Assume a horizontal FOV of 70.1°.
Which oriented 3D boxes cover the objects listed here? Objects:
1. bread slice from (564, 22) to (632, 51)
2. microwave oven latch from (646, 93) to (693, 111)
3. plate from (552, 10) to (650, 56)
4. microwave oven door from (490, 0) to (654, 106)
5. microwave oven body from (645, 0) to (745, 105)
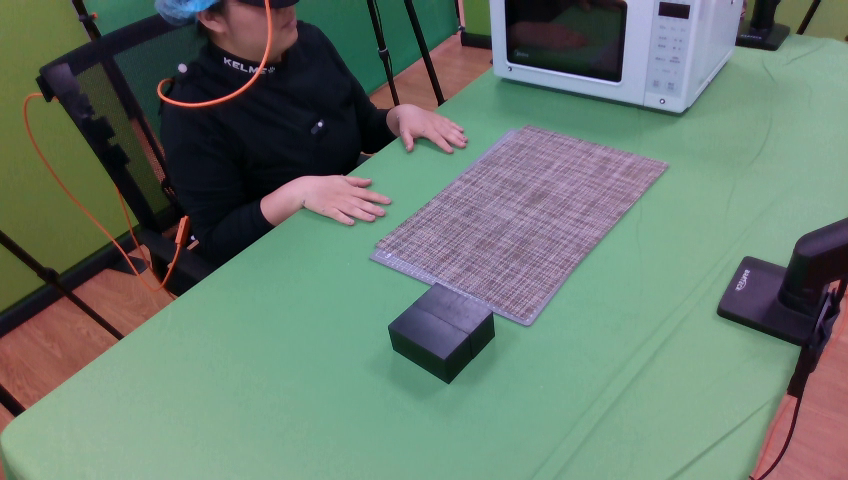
[{"bbox_3d":[0.394,-0.453,1.344,0.105,0.019,0.130,-36,42,-26],"label":"bread slice"},{"bbox_3d":[0.477,-0.273,1.177,0.078,0.029,0.030,22,50,33],"label":"microwave oven latch"},{"bbox_3d":[0.390,-0.455,1.339,0.209,0.038,0.208,-5,39,5],"label":"plate"},{"bbox_3d":[0.292,-0.420,1.228,0.353,0.245,0.039,22,49,32],"label":"microwave oven door"},{"bbox_3d":[0.416,-0.486,1.290,0.438,0.261,0.327,21,50,33],"label":"microwave oven body"}]
